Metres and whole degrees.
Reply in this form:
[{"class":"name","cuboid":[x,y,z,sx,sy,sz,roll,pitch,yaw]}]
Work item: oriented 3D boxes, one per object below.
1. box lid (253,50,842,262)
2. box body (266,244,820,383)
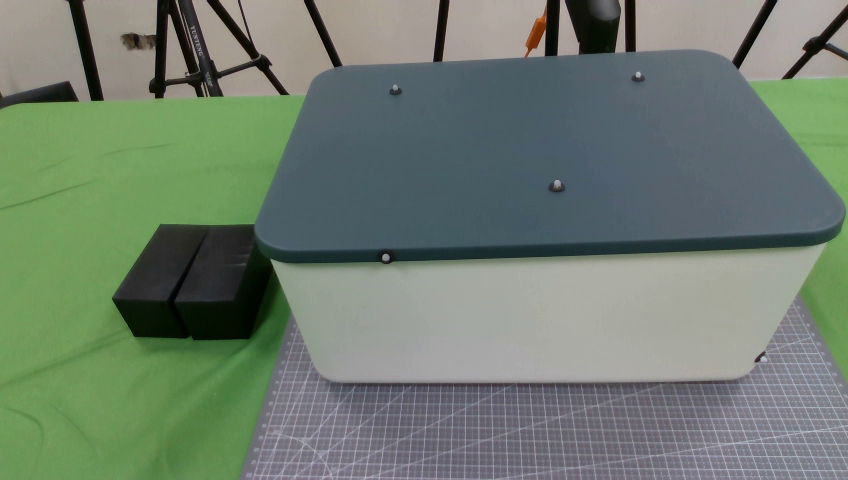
[{"class":"box lid","cuboid":[0.073,-0.078,0.460,0.371,0.015,0.260,-2,41,4]},{"class":"box body","cuboid":[0.081,-0.021,0.510,0.364,0.162,0.251,-2,41,4]}]
